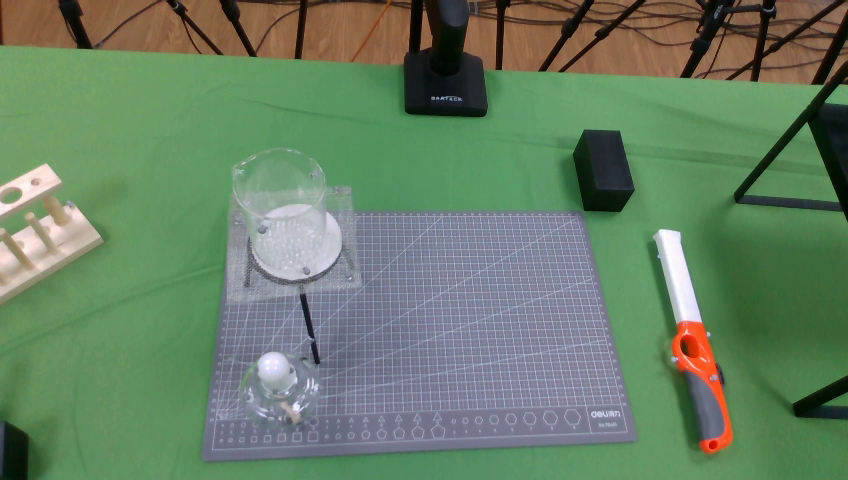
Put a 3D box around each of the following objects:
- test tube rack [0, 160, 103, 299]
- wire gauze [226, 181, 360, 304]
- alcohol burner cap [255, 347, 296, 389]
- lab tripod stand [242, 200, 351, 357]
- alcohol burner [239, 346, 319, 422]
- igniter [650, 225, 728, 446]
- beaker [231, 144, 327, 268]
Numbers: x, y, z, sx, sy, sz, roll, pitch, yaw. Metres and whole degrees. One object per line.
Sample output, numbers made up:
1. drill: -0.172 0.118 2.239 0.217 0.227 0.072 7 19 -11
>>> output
1. test tube rack: -0.482 0.022 0.636 0.242 0.086 0.066 -38 70 -25
2. wire gauze: -0.128 -0.003 0.584 0.122 0.011 0.124 -5 63 -8
3. alcohol burner cap: -0.138 0.116 0.557 0.034 0.048 0.033 1 63 -1
4. lab tripod stand: -0.131 0.034 0.638 0.148 0.132 0.147 4 59 -6
5. alcohol burner: -0.142 0.134 0.588 0.078 0.120 0.077 4 57 -6
6. igniter: 0.309 0.102 0.713 0.057 0.025 0.274 8 58 -14
7. beaker: -0.127 -0.027 0.541 0.084 0.101 0.073 22 59 6
